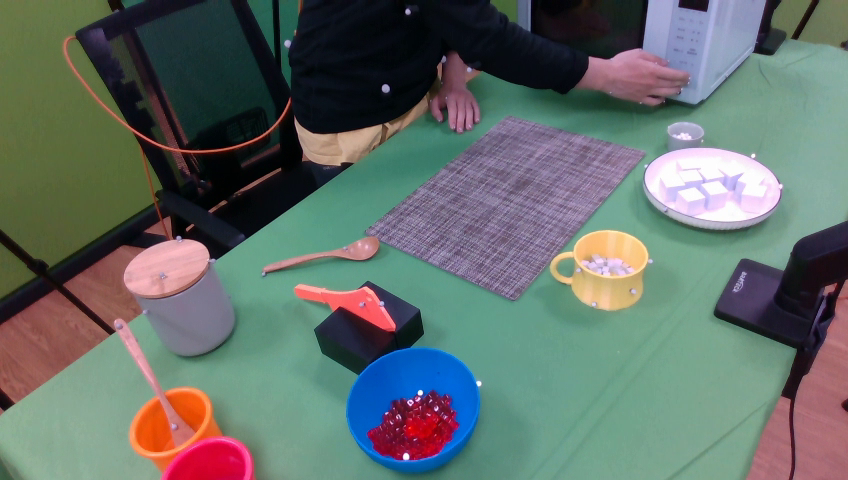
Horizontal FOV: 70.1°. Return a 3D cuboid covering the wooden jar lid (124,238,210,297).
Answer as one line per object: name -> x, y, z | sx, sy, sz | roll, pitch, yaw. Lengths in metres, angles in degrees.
wooden jar lid -> -0.335, 0.039, 0.795 | 0.108, 0.021, 0.108 | -2, 40, 2

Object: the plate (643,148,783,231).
plate -> 0.464, -0.080, 0.986 | 0.207, 0.039, 0.206 | -4, 40, 4

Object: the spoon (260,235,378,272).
spoon -> -0.168, 0.024, 0.966 | 0.194, 0.022, 0.041 | -10, 58, -3

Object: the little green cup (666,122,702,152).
little green cup -> 0.472, -0.183, 1.102 | 0.061, 0.039, 0.061 | -5, 41, 5

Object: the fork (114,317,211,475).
fork -> -0.309, 0.180, 0.708 | 0.028, 0.018, 0.207 | -29, 89, -26

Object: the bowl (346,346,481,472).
bowl -> -0.008, 0.205, 0.691 | 0.151, 0.077, 0.150 | -4, 40, 4

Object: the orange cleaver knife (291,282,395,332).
orange cleaver knife -> -0.116, 0.091, 0.835 | 0.209, 0.077, 0.012 | 1, 32, 47

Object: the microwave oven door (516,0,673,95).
microwave oven door -> 0.344, -0.458, 1.257 | 0.353, 0.245, 0.039 | 26, 52, 33

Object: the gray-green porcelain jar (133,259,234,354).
gray-green porcelain jar -> -0.328, 0.087, 0.836 | 0.106, 0.127, 0.105 | -4, 41, 4

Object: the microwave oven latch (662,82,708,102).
microwave oven latch -> 0.518, -0.298, 1.202 | 0.078, 0.029, 0.030 | 28, 53, 35

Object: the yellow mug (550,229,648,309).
yellow mug -> 0.245, 0.040, 0.856 | 0.130, 0.064, 0.099 | 1, 42, 11

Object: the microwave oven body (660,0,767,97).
microwave oven body -> 0.473, -0.516, 1.313 | 0.438, 0.261, 0.327 | 26, 51, 34
